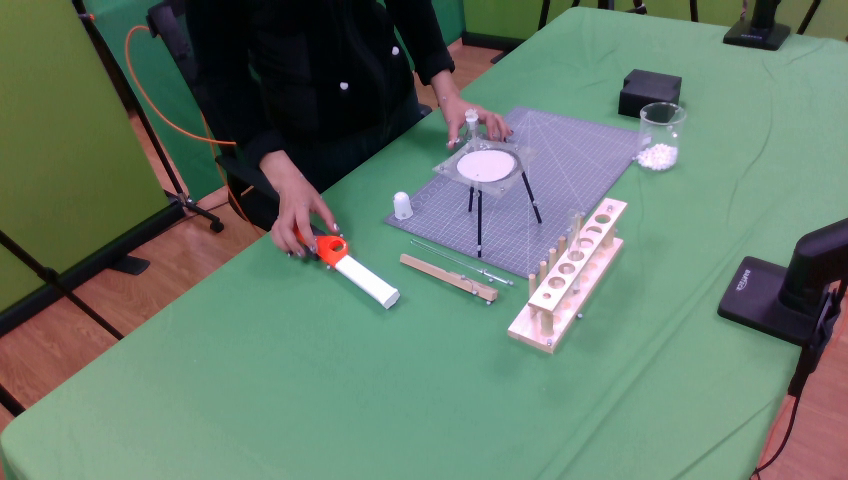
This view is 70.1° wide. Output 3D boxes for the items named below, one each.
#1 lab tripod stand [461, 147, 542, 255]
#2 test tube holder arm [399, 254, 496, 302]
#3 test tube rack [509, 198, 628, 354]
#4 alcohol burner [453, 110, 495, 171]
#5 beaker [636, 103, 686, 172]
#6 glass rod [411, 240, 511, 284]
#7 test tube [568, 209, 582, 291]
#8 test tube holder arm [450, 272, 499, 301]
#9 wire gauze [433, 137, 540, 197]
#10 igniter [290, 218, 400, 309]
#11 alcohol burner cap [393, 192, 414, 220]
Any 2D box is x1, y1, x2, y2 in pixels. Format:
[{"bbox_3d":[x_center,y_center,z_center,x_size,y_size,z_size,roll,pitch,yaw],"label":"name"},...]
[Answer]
[{"bbox_3d":[0.114,-0.069,0.953,0.148,0.132,0.147,-5,38,4],"label":"lab tripod stand"},{"bbox_3d":[0.032,0.055,0.914,0.177,0.015,0.013,21,15,32],"label":"test tube holder arm"},{"bbox_3d":[0.206,0.039,0.850,0.066,0.085,0.243,20,48,31],"label":"test tube rack"},{"bbox_3d":[0.091,-0.187,1.112,0.078,0.119,0.077,-4,41,4],"label":"alcohol burner"},{"bbox_3d":[0.413,-0.177,1.055,0.084,0.101,0.073,-28,44,-21],"label":"beaker"},{"bbox_3d":[0.053,0.033,0.946,0.198,0.008,0.008,22,50,36],"label":"glass rod"},{"bbox_3d":[0.200,0.017,0.799,0.017,0.151,0.017,-8,45,8],"label":"test tube"},{"bbox_3d":[0.071,0.068,0.895,0.087,0.015,0.010,21,15,32],"label":"test tube holder arm"},{"bbox_3d":[0.094,-0.116,0.907,0.124,0.011,0.122,21,47,30],"label":"wire gauze"},{"bbox_3d":[-0.136,0.031,0.970,0.057,0.025,0.274,-42,49,-18],"label":"igniter"},{"bbox_3d":[-0.038,-0.061,1.043,0.034,0.048,0.033,-6,41,5],"label":"alcohol burner cap"}]
